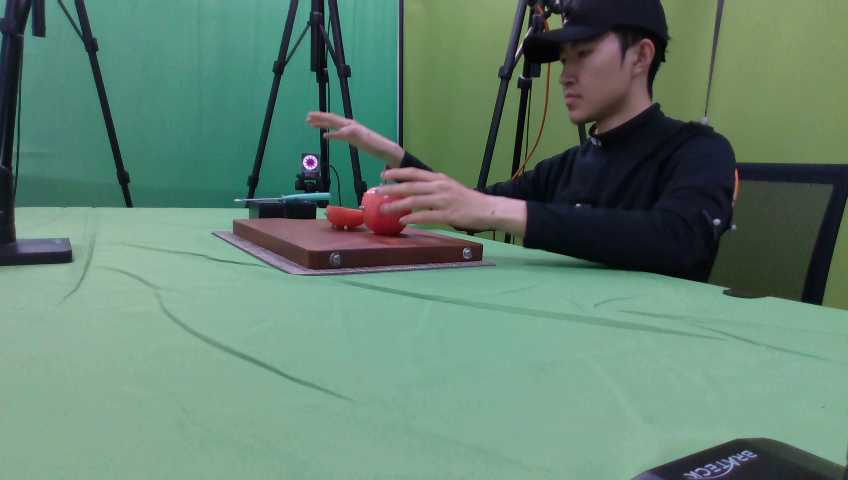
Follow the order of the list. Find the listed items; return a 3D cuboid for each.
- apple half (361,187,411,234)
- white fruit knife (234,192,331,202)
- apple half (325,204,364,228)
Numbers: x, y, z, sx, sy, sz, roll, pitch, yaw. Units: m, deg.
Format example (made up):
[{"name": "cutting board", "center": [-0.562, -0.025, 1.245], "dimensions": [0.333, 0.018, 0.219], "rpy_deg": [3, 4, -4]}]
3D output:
[{"name": "apple half", "center": [-0.052, -0.045, 0.937], "dimensions": [0.081, 0.074, 0.053], "rpy_deg": [2, 11, -39]}, {"name": "white fruit knife", "center": [-0.295, -0.088, 1.281], "dimensions": [0.208, 0.016, 0.027], "rpy_deg": [-6, -2, -26]}, {"name": "apple half", "center": [-0.128, -0.035, 0.990], "dimensions": [0.081, 0.033, 0.081], "rpy_deg": [10, -5, 1]}]
